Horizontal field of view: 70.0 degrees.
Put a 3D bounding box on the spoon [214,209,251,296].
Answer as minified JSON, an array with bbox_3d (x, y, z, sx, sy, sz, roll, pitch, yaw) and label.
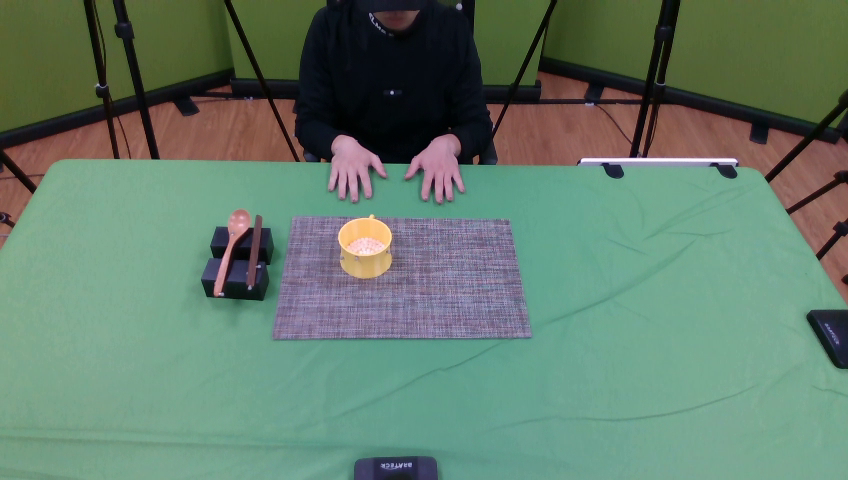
[{"bbox_3d":[-0.349,0.019,1.087,0.041,0.022,0.192,4,48,0],"label":"spoon"}]

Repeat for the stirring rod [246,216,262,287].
[{"bbox_3d":[-0.308,0.017,1.098,0.014,0.006,0.175,24,37,-28],"label":"stirring rod"}]

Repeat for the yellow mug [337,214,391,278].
[{"bbox_3d":[-0.110,0.003,1.152,0.100,0.064,0.130,7,45,2],"label":"yellow mug"}]
